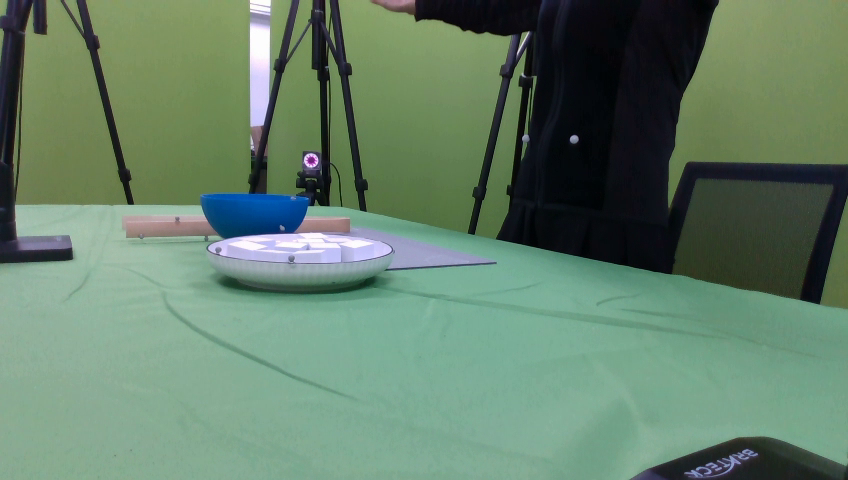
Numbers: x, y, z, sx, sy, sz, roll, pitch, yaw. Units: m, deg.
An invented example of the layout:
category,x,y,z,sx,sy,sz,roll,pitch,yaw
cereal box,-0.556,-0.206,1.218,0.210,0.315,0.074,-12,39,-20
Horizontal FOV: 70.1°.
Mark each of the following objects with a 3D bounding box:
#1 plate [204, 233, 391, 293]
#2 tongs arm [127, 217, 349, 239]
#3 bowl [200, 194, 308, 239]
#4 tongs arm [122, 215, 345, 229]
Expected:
category,x,y,z,sx,sy,sz,roll,pitch,yaw
plate,-0.143,0.025,0.697,0.208,0.039,0.207,3,9,0
tongs arm,-0.294,-0.023,1.027,0.387,0.026,0.050,-3,5,-34
bowl,-0.245,-0.025,0.879,0.151,0.077,0.151,2,7,0
tongs arm,-0.336,-0.032,1.103,0.389,0.027,0.028,0,1,-19
